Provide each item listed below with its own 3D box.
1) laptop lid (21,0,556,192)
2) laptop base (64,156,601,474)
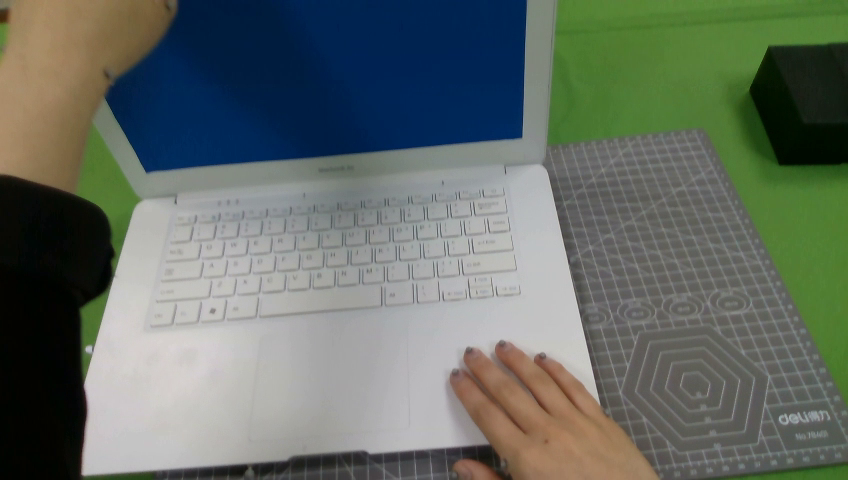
[{"bbox_3d":[-0.083,-0.133,0.436,0.357,0.244,0.013,-6,48,3],"label":"laptop lid"},{"bbox_3d":[-0.067,0.043,0.456,0.354,0.023,0.233,-5,58,2],"label":"laptop base"}]
